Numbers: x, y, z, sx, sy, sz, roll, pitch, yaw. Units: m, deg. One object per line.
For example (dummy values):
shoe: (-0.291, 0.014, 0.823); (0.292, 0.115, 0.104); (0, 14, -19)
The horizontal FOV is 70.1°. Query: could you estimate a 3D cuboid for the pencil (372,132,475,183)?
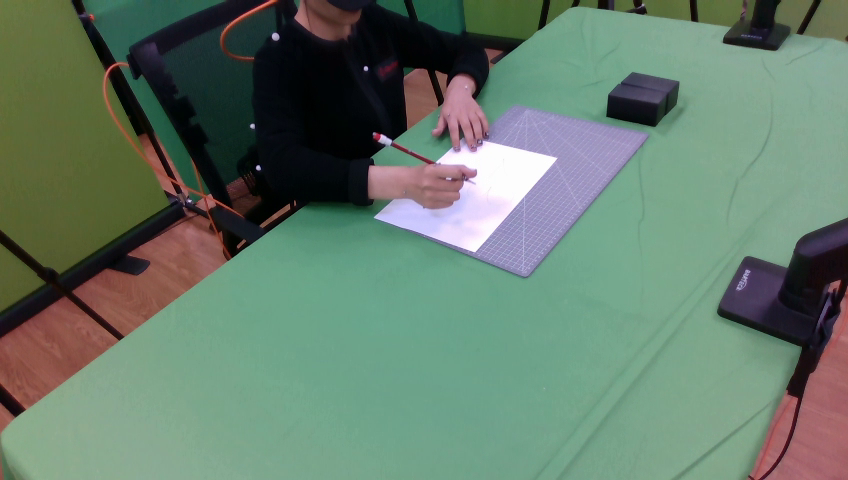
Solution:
pencil: (0.003, -0.129, 0.971); (0.195, 0.012, 0.012); (22, 33, -25)
